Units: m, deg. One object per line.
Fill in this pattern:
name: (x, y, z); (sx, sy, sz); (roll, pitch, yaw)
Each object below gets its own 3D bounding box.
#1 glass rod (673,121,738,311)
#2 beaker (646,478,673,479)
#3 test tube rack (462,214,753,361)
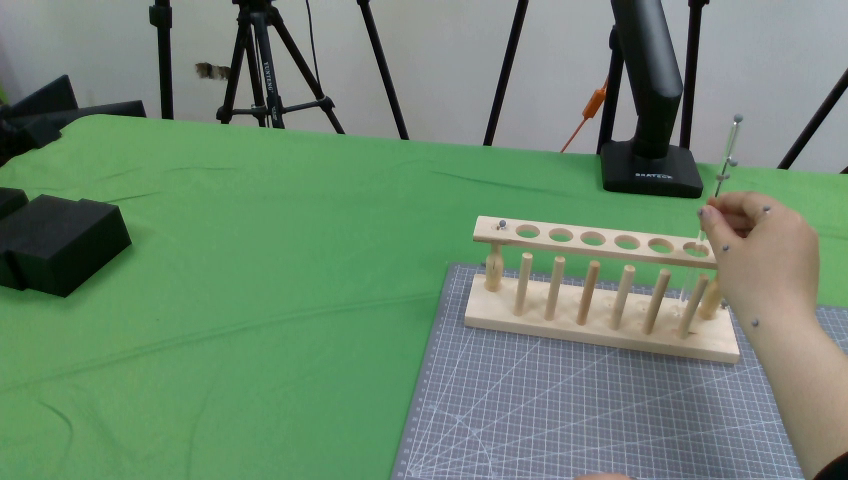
glass rod: (0.235, -0.010, 0.512); (0.008, 0.201, 0.008); (-2, 39, 2)
beaker: (0.122, 0.191, 0.325); (0.084, 0.101, 0.073); (-1, 34, -7)
test tube rack: (0.161, 0.042, 0.555); (0.242, 0.086, 0.066); (7, 37, 9)
